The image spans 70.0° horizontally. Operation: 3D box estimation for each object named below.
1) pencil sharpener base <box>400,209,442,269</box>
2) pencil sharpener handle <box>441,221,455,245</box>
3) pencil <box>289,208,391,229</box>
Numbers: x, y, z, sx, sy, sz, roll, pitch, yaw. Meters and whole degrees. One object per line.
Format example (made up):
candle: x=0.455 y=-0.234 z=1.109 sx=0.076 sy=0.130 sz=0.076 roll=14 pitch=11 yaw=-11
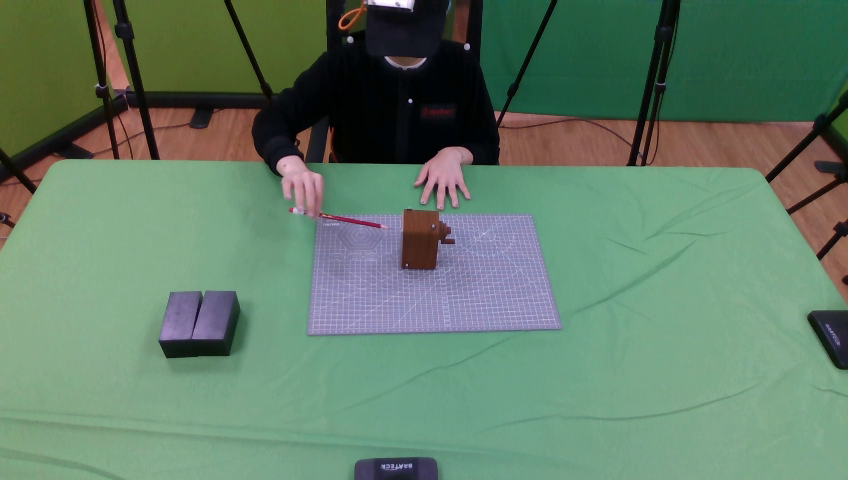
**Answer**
pencil sharpener base: x=-0.006 y=0.000 z=1.134 sx=0.077 sy=0.107 sz=0.061 roll=2 pitch=45 yaw=-2
pencil sharpener handle: x=0.046 y=-0.011 z=1.130 sx=0.030 sy=0.068 sz=0.036 roll=2 pitch=62 yaw=-2
pencil: x=-0.154 y=-0.038 z=1.114 sx=0.194 sy=0.012 sz=0.012 roll=11 pitch=46 yaw=5
